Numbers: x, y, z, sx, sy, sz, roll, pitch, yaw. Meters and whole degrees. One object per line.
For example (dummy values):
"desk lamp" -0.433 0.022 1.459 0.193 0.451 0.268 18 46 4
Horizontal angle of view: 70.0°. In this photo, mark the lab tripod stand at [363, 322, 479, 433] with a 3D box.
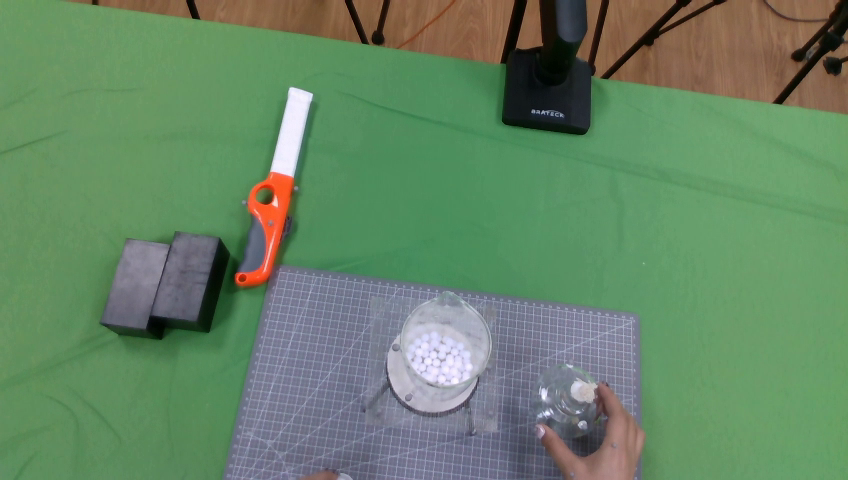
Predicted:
"lab tripod stand" 0.003 0.141 0.631 0.148 0.132 0.147 1 67 -2

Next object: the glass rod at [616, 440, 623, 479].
"glass rod" 0.209 0.316 0.645 0.008 0.008 0.198 7 68 -2

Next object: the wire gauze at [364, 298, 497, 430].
"wire gauze" 0.007 0.113 0.571 0.125 0.011 0.120 3 66 -1

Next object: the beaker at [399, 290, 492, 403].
"beaker" 0.014 0.097 0.526 0.074 0.101 0.083 5 66 -2

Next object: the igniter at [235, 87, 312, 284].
"igniter" -0.185 -0.072 0.760 0.057 0.025 0.274 15 67 -15

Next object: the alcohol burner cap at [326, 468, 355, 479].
"alcohol burner cap" -0.087 0.253 0.620 0.034 0.048 0.033 1 74 -3

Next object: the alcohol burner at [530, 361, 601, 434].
"alcohol burner" 0.154 0.164 0.644 0.078 0.120 0.077 1 66 -2
